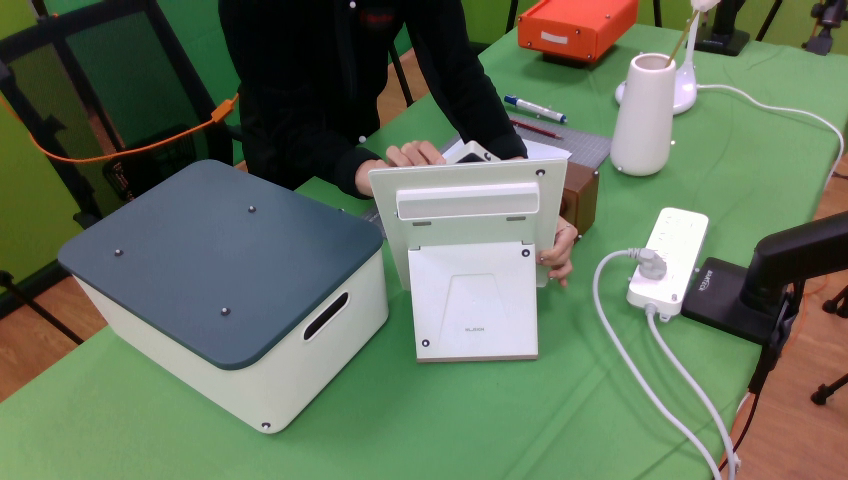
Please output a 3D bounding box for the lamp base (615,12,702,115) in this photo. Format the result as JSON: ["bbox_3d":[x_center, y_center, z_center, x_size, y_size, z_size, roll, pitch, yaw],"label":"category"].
[{"bbox_3d":[0.484,-0.363,1.211,0.180,0.181,0.159,-15,41,-14],"label":"lamp base"}]

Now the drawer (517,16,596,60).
[{"bbox_3d":[0.352,-0.506,1.405,0.193,0.073,0.212,23,49,32],"label":"drawer"}]

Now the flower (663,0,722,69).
[{"bbox_3d":[0.379,-0.261,0.965,0.044,0.362,0.038,20,53,5],"label":"flower"}]

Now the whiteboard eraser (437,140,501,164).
[{"bbox_3d":[0.035,-0.068,0.706,0.112,0.056,0.041,-29,47,39],"label":"whiteboard eraser"}]

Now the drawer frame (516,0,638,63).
[{"bbox_3d":[0.355,-0.508,1.410,0.200,0.083,0.214,23,51,32],"label":"drawer frame"}]

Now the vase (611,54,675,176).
[{"bbox_3d":[0.377,-0.209,1.031,0.098,0.201,0.097,-3,40,3],"label":"vase"}]

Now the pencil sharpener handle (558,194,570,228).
[{"bbox_3d":[0.195,-0.038,0.908,0.035,0.068,0.031,24,50,31],"label":"pencil sharpener handle"}]

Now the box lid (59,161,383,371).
[{"bbox_3d":[-0.262,0.010,0.777,0.369,0.015,0.264,21,48,29],"label":"box lid"}]

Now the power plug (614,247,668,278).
[{"bbox_3d":[0.306,0.031,0.851,0.072,0.053,0.035,24,49,33],"label":"power plug"}]

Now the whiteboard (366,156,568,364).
[{"bbox_3d":[0.059,0.050,0.738,0.217,0.307,0.143,-2,60,5],"label":"whiteboard"}]

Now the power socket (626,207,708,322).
[{"bbox_3d":[0.359,0.026,0.886,0.072,0.033,0.227,16,46,26],"label":"power socket"}]

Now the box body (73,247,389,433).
[{"bbox_3d":[-0.255,0.065,0.827,0.361,0.161,0.255,21,48,29],"label":"box body"}]

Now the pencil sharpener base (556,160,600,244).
[{"bbox_3d":[0.228,-0.057,0.945,0.061,0.107,0.077,24,50,31],"label":"pencil sharpener base"}]

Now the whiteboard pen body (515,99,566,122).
[{"bbox_3d":[0.233,-0.274,1.262,0.139,0.017,0.017,28,51,29],"label":"whiteboard pen body"}]

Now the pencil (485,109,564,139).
[{"bbox_3d":[0.201,-0.235,1.228,0.192,0.012,0.012,28,51,33],"label":"pencil"}]

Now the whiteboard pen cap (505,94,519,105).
[{"bbox_3d":[0.190,-0.299,1.292,0.033,0.018,0.018,30,52,28],"label":"whiteboard pen cap"}]
